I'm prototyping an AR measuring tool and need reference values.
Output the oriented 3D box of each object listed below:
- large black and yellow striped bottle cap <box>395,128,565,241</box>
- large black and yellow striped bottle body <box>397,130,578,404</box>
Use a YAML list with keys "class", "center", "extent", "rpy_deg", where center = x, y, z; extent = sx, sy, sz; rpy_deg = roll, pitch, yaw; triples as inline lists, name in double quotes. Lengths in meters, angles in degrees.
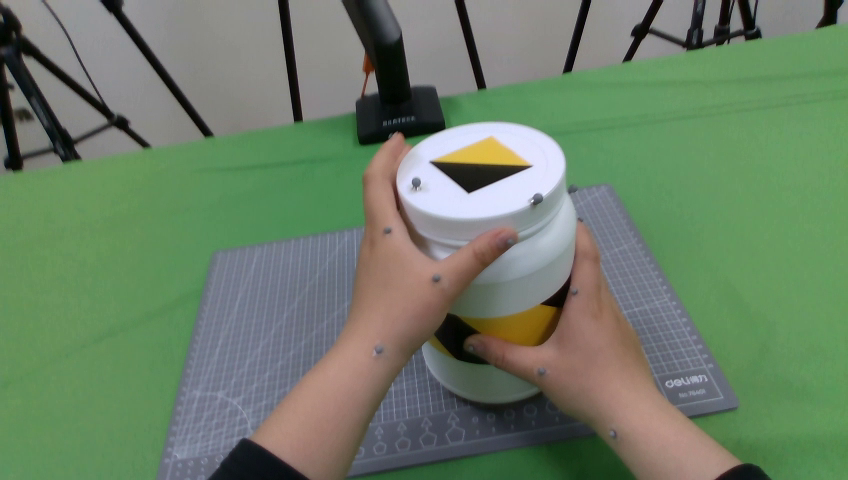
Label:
- class: "large black and yellow striped bottle cap"
  center: [0.037, -0.042, 0.411]
  extent: [0.115, 0.019, 0.114]
  rpy_deg: [-5, 39, 5]
- class: "large black and yellow striped bottle body"
  center: [0.051, 0.022, 0.465]
  extent: [0.130, 0.186, 0.129]
  rpy_deg: [-6, 40, 6]
